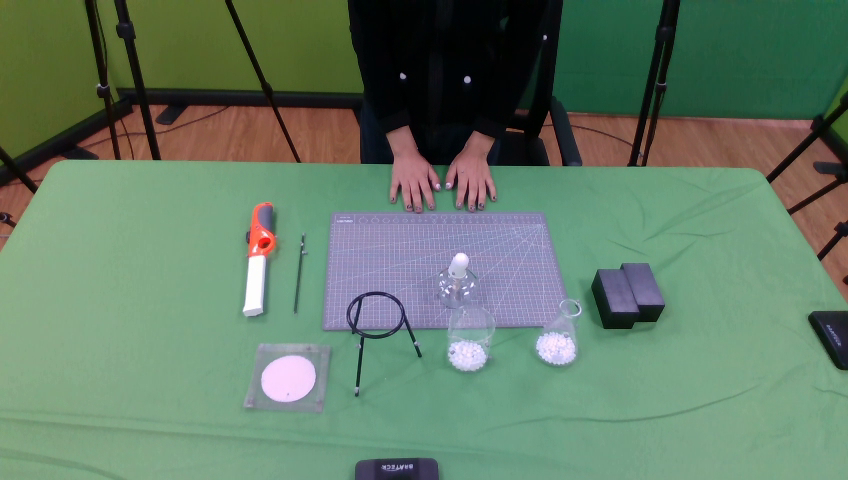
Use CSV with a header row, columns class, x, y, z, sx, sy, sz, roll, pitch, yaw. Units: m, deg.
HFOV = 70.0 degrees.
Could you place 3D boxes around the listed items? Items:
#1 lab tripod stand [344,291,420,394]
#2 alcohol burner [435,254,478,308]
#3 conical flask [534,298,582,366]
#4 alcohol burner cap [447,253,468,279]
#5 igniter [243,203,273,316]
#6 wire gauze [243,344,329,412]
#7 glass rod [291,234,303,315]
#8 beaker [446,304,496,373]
class,x,y,z,sx,sy,sz,roll,pitch,yaw
lab tripod stand,-0.075,0.155,0.967,0.148,0.132,0.147,3,44,-3
alcohol burner,0.058,0.066,1.073,0.078,0.120,0.077,1,47,-1
conical flask,0.229,0.149,1.005,0.075,0.122,0.075,2,46,-2
alcohol burner cap,0.060,0.043,1.046,0.034,0.048,0.033,5,50,-6
igniter,-0.315,0.027,1.145,0.057,0.025,0.274,-10,47,0
wire gauze,-0.221,0.219,0.981,0.125,0.011,0.120,2,45,0
glass rod,-0.237,0.060,1.134,0.008,0.008,0.198,-1,46,-4
beaker,0.072,0.166,0.992,0.084,0.101,0.073,-21,51,-22
